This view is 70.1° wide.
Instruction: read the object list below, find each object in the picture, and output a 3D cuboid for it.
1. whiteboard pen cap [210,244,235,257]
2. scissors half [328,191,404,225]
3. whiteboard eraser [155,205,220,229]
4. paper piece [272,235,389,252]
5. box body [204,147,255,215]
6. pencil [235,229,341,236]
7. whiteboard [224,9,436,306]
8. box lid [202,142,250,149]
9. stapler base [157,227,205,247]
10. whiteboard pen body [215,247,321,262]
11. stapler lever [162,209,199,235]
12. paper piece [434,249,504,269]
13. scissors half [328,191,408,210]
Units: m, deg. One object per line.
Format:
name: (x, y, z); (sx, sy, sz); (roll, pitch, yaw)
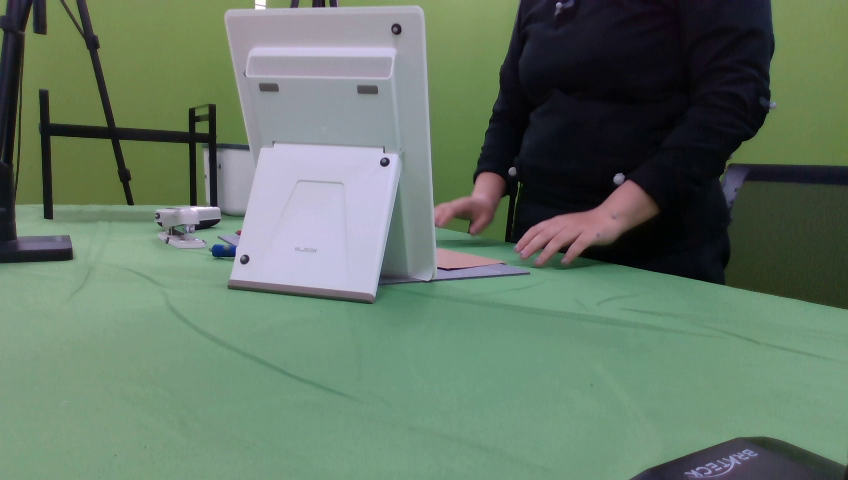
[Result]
whiteboard pen cap: (-0.266, 0.015, 0.806); (0.033, 0.018, 0.018); (3, 7, -1)
scissors half: (-0.127, -0.072, 1.321); (0.175, 0.040, 0.013); (22, 6, -5)
whiteboard eraser: (-0.428, -0.041, 1.100); (0.055, 0.042, 0.113); (7, 8, 19)
paper piece: (-0.151, 0.003, 0.978); (0.135, 0.008, 0.139); (13, 10, 35)
box body: (-0.346, -0.152, 1.519); (0.366, 0.160, 0.253); (-2, 9, -31)
pencil: (-0.232, -0.012, 1.053); (0.195, 0.012, 0.012); (0, 8, -36)
whiteboard: (-0.117, -0.065, 0.617); (0.217, 0.305, 0.144); (5, 29, 16)
box lid: (-0.344, -0.225, 1.509); (0.373, 0.015, 0.262); (-2, 8, -31)
stapler base: (-0.376, -0.007, 0.935); (0.041, 0.024, 0.130); (1, 5, -38)
whiteboard pen body: (-0.208, 0.019, 0.804); (0.141, 0.017, 0.017); (2, 7, 1)
stapler lever: (-0.376, -0.031, 0.933); (0.027, 0.040, 0.117); (1, 7, -38)
paper piece: (0.025, 0.026, 0.865); (0.134, 0.004, 0.136); (9, 9, 43)
scissors half: (-0.122, -0.091, 1.318); (0.175, 0.040, 0.013); (5, 12, -3)
